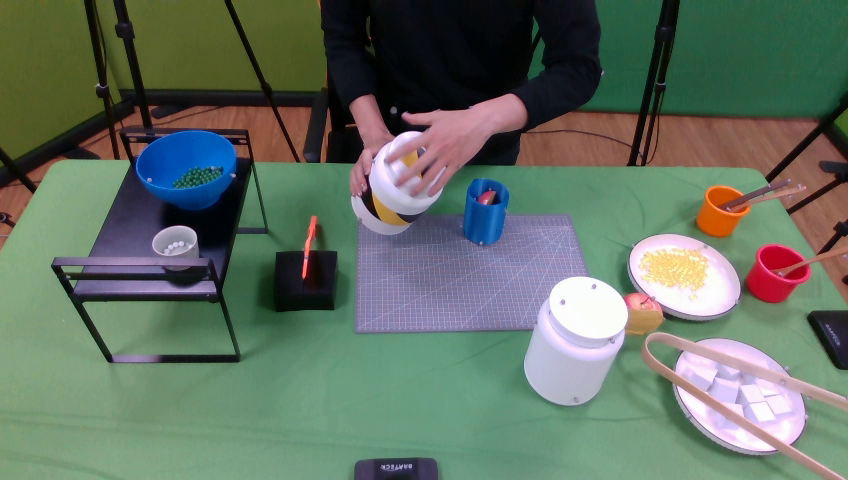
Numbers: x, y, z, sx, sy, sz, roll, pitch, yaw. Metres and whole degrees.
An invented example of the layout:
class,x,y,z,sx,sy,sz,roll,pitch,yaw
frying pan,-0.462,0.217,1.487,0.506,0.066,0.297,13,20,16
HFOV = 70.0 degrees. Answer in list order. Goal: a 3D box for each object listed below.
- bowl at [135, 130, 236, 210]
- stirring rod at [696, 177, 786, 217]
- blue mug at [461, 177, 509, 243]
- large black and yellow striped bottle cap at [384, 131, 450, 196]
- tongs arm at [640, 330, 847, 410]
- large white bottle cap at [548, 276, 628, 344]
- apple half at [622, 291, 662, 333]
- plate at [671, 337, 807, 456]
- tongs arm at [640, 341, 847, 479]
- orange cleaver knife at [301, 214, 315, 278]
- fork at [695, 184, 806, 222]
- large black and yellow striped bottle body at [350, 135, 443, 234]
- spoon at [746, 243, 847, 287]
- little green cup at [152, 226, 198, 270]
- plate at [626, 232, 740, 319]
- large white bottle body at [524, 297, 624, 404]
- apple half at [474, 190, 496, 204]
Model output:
class,x,y,z,sx,sy,sz,roll,pitch,yaw
bowl,-0.375,-0.102,0.977,0.151,0.077,0.150,2,46,-2
stirring rod,0.648,-0.087,1.244,0.176,0.006,0.014,-25,50,29
blue mug,0.114,-0.069,1.211,0.082,0.106,0.115,-12,48,-15
large black and yellow striped bottle cap,-0.010,-0.129,1.016,0.115,0.019,0.114,10,65,-22
tongs arm,0.543,0.225,0.969,0.384,0.026,0.050,22,52,13
large white bottle cap,0.240,0.100,0.890,0.115,0.018,0.114,3,47,-3
apple half,0.372,0.124,1.073,0.081,0.075,0.053,0,42,1
plate,0.504,0.254,0.984,0.208,0.039,0.206,2,46,-2
tongs arm,0.500,0.277,0.919,0.386,0.028,0.028,34,59,22
orange cleaver knife,-0.217,0.007,1.131,0.012,0.077,0.210,7,19,-9
fork,0.658,-0.074,1.229,0.207,0.019,0.028,-24,33,36
large black and yellow striped bottle body,-0.045,-0.101,1.086,0.131,0.184,0.130,10,65,-23
spoon,0.702,0.043,1.126,0.194,0.022,0.041,-29,38,30
little green cup,-0.364,0.013,0.894,0.061,0.039,0.061,3,47,-3
plate,0.488,0.071,1.157,0.209,0.038,0.208,3,46,-3
large white bottle body,0.235,0.159,0.952,0.131,0.185,0.130,2,47,-2
apple half,0.109,-0.067,1.200,0.032,0.081,0.081,29,51,13
